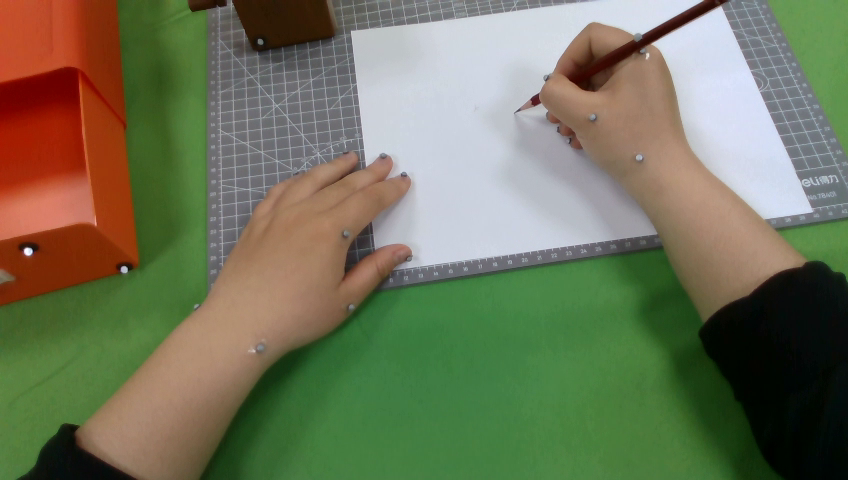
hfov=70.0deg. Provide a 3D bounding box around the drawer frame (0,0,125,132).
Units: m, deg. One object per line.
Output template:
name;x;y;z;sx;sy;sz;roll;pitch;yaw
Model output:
drawer frame;-0.343;-0.159;0.452;0.202;0.083;0.211;-16;65;-4

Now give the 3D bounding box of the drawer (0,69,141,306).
drawer;-0.310;-0.056;0.407;0.194;0.074;0.210;-16;66;-5

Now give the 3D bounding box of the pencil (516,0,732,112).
pencil;0.124;-0.116;0.372;0.012;0.193;0.012;10;71;-34

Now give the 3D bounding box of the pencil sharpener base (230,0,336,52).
pencil sharpener base;-0.114;-0.200;0.446;0.077;0.108;0.061;-14;66;-3

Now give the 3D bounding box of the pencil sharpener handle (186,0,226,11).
pencil sharpener handle;-0.164;-0.192;0.431;0.030;0.068;0.035;-14;63;-3
